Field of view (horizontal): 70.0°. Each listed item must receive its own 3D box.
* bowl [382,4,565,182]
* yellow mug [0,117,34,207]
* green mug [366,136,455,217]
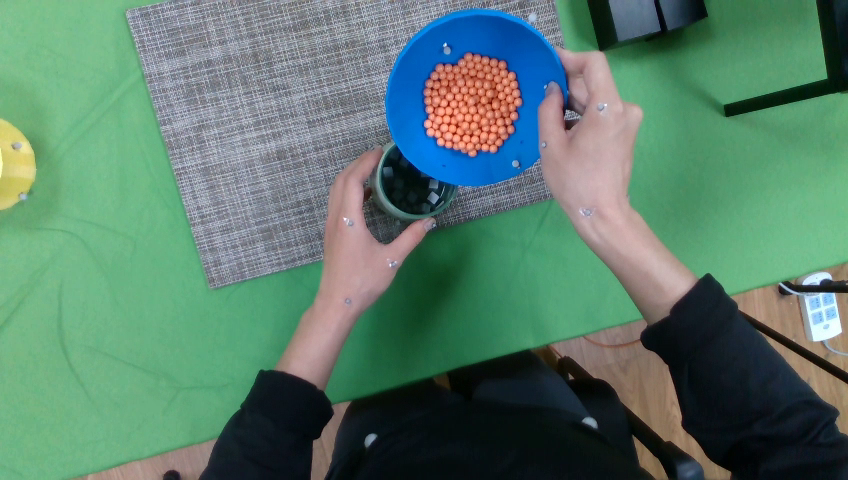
[{"bbox_3d":[0.040,-0.135,0.524,0.151,0.076,0.152,-1,127,-1],"label":"bowl"},{"bbox_3d":[-0.456,-0.064,0.592,0.100,0.064,0.131,18,94,-10],"label":"yellow mug"},{"bbox_3d":[-0.013,-0.085,0.627,0.093,0.104,0.125,2,95,-7],"label":"green mug"}]
